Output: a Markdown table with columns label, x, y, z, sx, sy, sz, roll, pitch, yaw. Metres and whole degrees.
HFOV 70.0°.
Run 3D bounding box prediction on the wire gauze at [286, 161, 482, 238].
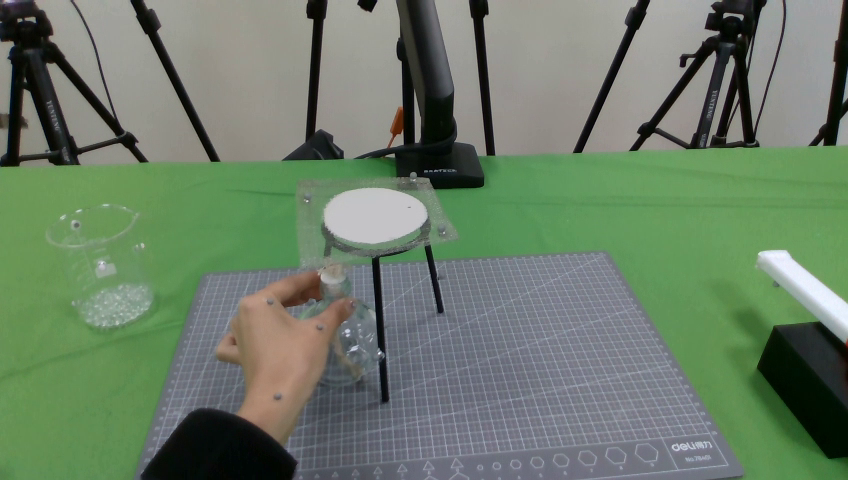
| label | x | y | z | sx | sy | sz | roll | pitch | yaw |
| --- | --- | --- | --- | --- | --- | --- | --- | --- | --- |
| wire gauze | -0.034 | -0.034 | 0.484 | 0.125 | 0.011 | 0.120 | -12 | 31 | -30 |

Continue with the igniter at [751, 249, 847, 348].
| label | x | y | z | sx | sy | sz | roll | pitch | yaw |
| --- | --- | --- | --- | --- | --- | --- | --- | --- | --- |
| igniter | 0.356 | 0.085 | 0.484 | 0.057 | 0.025 | 0.273 | -3 | 31 | -7 |

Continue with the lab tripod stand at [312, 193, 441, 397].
| label | x | y | z | sx | sy | sz | roll | pitch | yaw |
| --- | --- | --- | --- | --- | --- | --- | --- | --- | --- |
| lab tripod stand | -0.040 | 0.039 | 0.527 | 0.148 | 0.132 | 0.147 | 2 | 35 | -1 |

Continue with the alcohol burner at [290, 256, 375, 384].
| label | x | y | z | sx | sy | sz | roll | pitch | yaw |
| --- | --- | --- | --- | --- | --- | --- | --- | --- | --- |
| alcohol burner | -0.074 | 0.063 | 0.508 | 0.078 | 0.120 | 0.077 | 2 | 33 | -1 |

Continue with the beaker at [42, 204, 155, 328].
| label | x | y | z | sx | sy | sz | roll | pitch | yaw |
| --- | --- | --- | --- | --- | --- | --- | --- | --- | --- |
| beaker | -0.301 | 0.025 | 0.577 | 0.073 | 0.101 | 0.084 | 28 | 42 | 34 |
